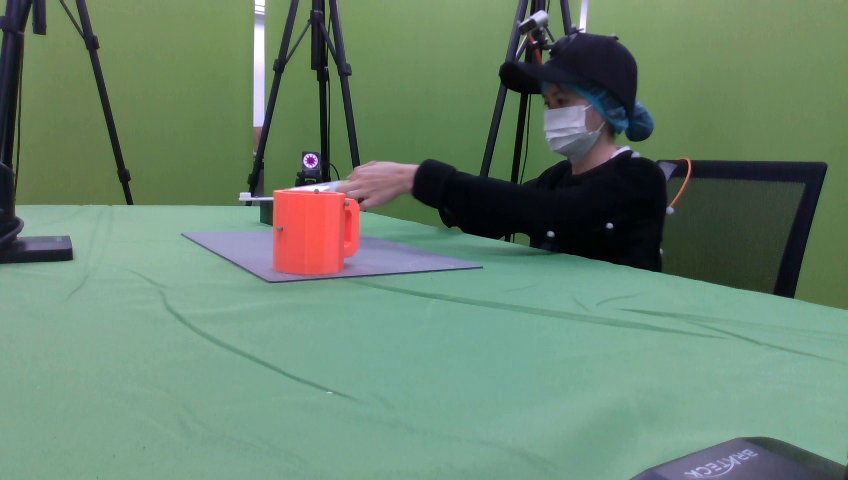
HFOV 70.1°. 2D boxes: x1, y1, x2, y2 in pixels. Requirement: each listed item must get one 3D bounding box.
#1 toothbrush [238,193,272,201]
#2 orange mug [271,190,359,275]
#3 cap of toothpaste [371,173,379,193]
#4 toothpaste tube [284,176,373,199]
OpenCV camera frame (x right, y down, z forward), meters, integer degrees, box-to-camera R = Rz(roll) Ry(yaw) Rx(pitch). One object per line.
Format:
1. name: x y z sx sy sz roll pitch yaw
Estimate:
1. toothbrush: -0.286 -0.087 1.236 0.183 0.016 0.014 -1 3 -30
2. orange mug: -0.131 -0.013 0.754 0.083 0.101 0.127 8 13 38
3. cap of toothpaste: -0.087 -0.101 1.075 0.011 0.037 0.037 -11 9 -4
4. toothpaste tube: -0.165 -0.088 1.071 0.165 0.034 0.055 -11 47 -5
